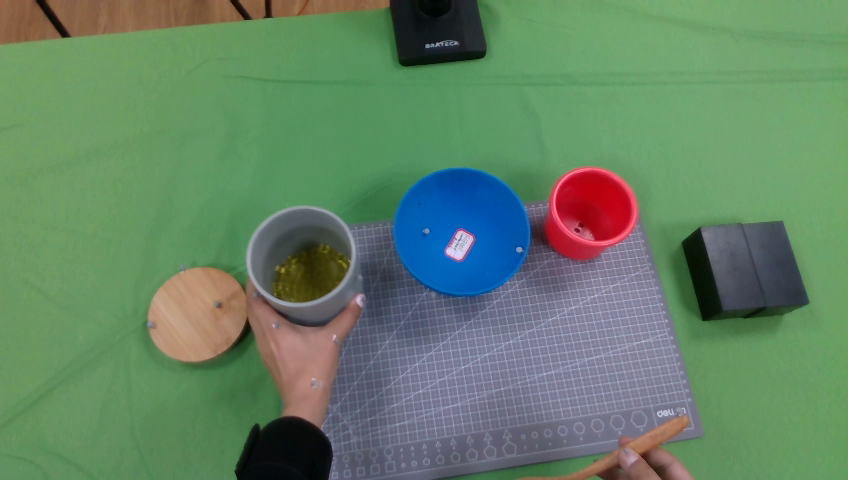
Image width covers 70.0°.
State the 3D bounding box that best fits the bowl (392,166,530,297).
[{"bbox_3d":[0.039,0.000,0.689,0.151,0.077,0.150,1,70,-2],"label":"bowl"}]

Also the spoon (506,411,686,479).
[{"bbox_3d":[0.141,0.199,0.528,0.194,0.022,0.041,-35,75,21],"label":"spoon"}]

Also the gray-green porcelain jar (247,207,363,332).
[{"bbox_3d":[-0.120,0.037,0.643,0.106,0.127,0.105,1,70,-2],"label":"gray-green porcelain jar"}]

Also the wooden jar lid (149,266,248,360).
[{"bbox_3d":[-0.252,0.083,0.682,0.108,0.021,0.107,1,70,-1],"label":"wooden jar lid"}]
